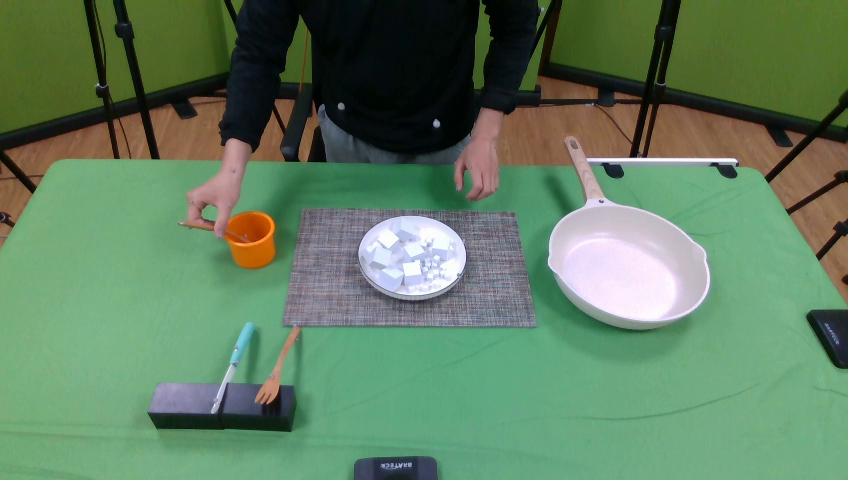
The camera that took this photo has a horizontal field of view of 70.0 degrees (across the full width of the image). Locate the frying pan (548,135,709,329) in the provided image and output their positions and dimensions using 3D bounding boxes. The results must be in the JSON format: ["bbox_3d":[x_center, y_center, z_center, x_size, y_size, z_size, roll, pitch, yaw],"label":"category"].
[{"bbox_3d":[0.360,-0.033,1.200,0.307,0.103,0.484,-4,55,-9],"label":"frying pan"}]

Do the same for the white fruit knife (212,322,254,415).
[{"bbox_3d":[-0.298,0.193,0.947,0.016,0.027,0.206,2,31,-1],"label":"white fruit knife"}]

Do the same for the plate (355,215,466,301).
[{"bbox_3d":[-0.025,0.038,1.143,0.208,0.039,0.206,3,46,-2],"label":"plate"}]

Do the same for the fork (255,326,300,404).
[{"bbox_3d":[-0.226,0.192,0.955,0.028,0.019,0.206,-1,27,4],"label":"fork"}]

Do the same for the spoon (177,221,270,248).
[{"bbox_3d":[-0.358,-0.012,1.094,0.041,0.195,0.021,26,91,38],"label":"spoon"}]
